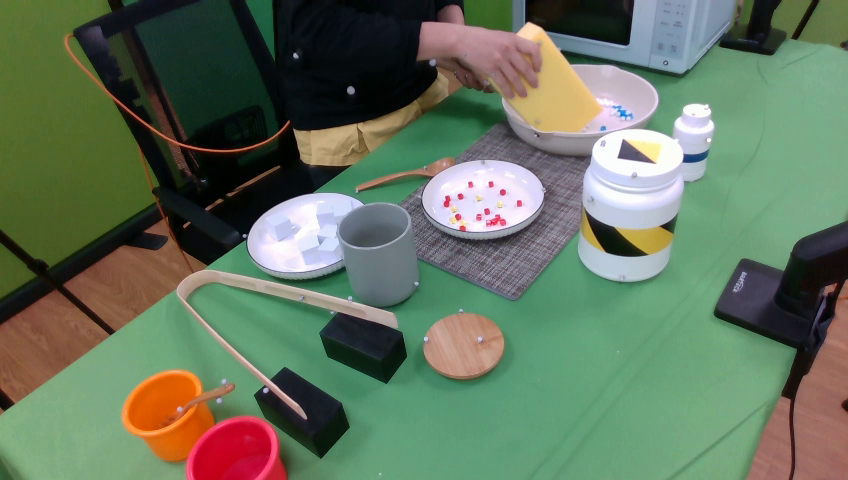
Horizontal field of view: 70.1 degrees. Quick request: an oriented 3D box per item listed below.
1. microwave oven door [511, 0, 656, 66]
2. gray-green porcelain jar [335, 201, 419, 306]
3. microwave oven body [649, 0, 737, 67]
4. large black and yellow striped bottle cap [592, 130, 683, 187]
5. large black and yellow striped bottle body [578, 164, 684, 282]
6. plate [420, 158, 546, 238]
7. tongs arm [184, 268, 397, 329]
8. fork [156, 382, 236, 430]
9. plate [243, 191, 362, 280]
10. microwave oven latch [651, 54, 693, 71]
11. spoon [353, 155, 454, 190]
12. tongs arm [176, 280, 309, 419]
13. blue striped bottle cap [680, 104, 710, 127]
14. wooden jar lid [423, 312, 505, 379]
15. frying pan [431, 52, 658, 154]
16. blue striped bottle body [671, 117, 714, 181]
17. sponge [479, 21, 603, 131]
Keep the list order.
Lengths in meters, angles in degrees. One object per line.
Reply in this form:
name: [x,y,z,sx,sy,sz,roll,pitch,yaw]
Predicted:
microwave oven door: [0.351,-0.540,1.349,0.353,0.245,0.039,24,50,31]
gray-green porcelain jar: [-0.064,0.024,0.872,0.106,0.127,0.105,-4,41,4]
microwave oven body: [0.475,-0.602,1.411,0.438,0.261,0.327,23,50,32]
large black and yellow striped bottle cap: [0.282,-0.111,0.803,0.115,0.019,0.114,-3,41,3]
large black and yellow striped bottle body: [0.292,-0.046,0.859,0.131,0.185,0.130,-4,41,4]
plate: [0.099,-0.067,1.017,0.209,0.038,0.208,-4,40,4]
tongs arm: [-0.202,0.084,0.848,0.382,0.027,0.051,11,45,35]
fork: [-0.262,0.189,0.690,0.018,0.206,0.028,49,43,-7]
plate: [-0.187,-0.005,0.992,0.207,0.039,0.206,-4,41,4]
microwave oven latch: [0.531,-0.386,1.301,0.078,0.029,0.030,26,51,33]
spoon: [-0.038,-0.123,1.116,0.194,0.022,0.041,-12,58,-4]
tongs arm: [-0.254,0.133,0.801,0.028,0.028,0.384,-41,41,-23]
blue striped bottle cap: [0.443,-0.205,0.989,0.044,0.021,0.044,-1,41,2]
wooden jar lid: [0.053,0.142,0.800,0.108,0.021,0.108,-5,39,4]
frying pan: [0.216,-0.302,1.223,0.484,0.103,0.308,29,49,24]
blue striped bottle body: [0.449,-0.165,1.022,0.063,0.121,0.063,-5,41,4]
sponge: [0.214,-0.274,1.092,0.118,0.208,0.060,-44,33,12]
